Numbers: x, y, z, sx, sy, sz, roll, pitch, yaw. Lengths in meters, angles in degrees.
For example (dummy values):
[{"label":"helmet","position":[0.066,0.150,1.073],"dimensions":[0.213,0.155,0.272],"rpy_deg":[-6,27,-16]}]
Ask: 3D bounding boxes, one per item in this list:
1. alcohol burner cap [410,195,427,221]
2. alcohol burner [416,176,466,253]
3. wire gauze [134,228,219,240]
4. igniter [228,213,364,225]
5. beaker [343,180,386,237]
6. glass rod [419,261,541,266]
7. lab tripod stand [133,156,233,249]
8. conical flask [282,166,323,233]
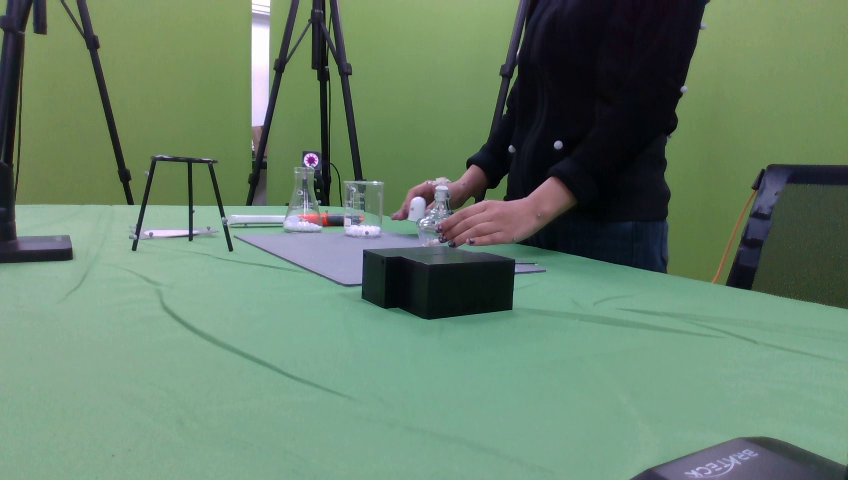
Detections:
[{"label":"alcohol burner cap","position":[-0.011,-0.059,1.125],"dimensions":[0.034,0.048,0.034],"rpy_deg":[-1,6,0]},{"label":"alcohol burner","position":[0.027,-0.040,0.934],"dimensions":[0.078,0.119,0.078],"rpy_deg":[3,10,0]},{"label":"wire gauze","position":[-0.421,-0.014,1.024],"dimensions":[0.122,0.011,0.124],"rpy_deg":[-2,7,-34]},{"label":"igniter","position":[-0.252,-0.043,1.227],"dimensions":[0.278,0.025,0.057],"rpy_deg":[-2,-3,-32]},{"label":"beaker","position":[-0.111,-0.058,1.090],"dimensions":[0.083,0.100,0.074],"rpy_deg":[7,8,34]},{"label":"glass rod","position":[0.080,0.031,0.807],"dimensions":[0.201,0.008,0.008],"rpy_deg":[1,6,-32]},{"label":"lab tripod stand","position":[-0.342,-0.054,0.878],"dimensions":[0.148,0.131,0.148],"rpy_deg":[4,6,0]},{"label":"conical flask","position":[-0.225,-0.076,1.129],"dimensions":[0.075,0.122,0.075],"rpy_deg":[2,8,0]}]
